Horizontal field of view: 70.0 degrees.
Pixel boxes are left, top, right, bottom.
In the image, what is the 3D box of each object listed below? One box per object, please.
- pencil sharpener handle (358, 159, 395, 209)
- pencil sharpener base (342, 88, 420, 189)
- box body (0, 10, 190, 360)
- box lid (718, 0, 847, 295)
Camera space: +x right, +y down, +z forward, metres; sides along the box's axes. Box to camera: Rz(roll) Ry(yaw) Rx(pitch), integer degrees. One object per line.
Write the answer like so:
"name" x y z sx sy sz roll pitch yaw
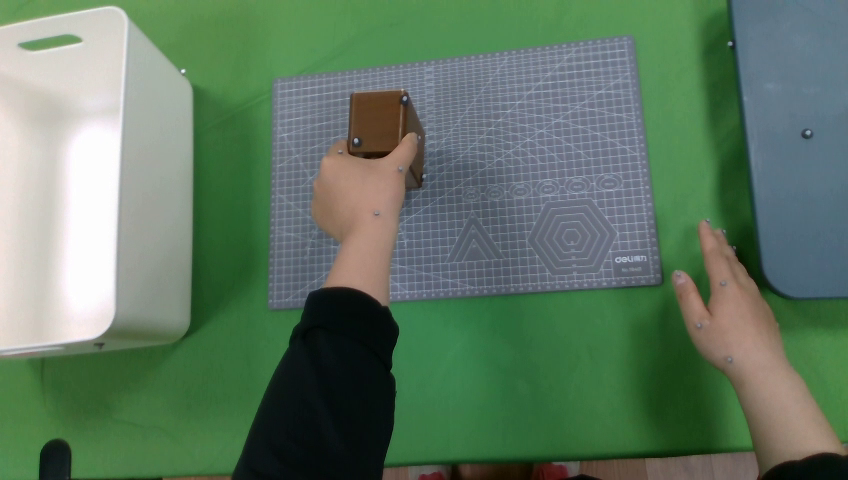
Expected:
"pencil sharpener handle" -0.045 -0.057 0.627 0.036 0.068 0.030 -3 74 16
"pencil sharpener base" -0.043 -0.102 0.652 0.061 0.108 0.076 -1 74 10
"box body" -0.422 -0.047 0.705 0.254 0.161 0.362 -8 76 7
"box lid" 0.453 -0.132 0.610 0.263 0.015 0.369 -3 77 9
